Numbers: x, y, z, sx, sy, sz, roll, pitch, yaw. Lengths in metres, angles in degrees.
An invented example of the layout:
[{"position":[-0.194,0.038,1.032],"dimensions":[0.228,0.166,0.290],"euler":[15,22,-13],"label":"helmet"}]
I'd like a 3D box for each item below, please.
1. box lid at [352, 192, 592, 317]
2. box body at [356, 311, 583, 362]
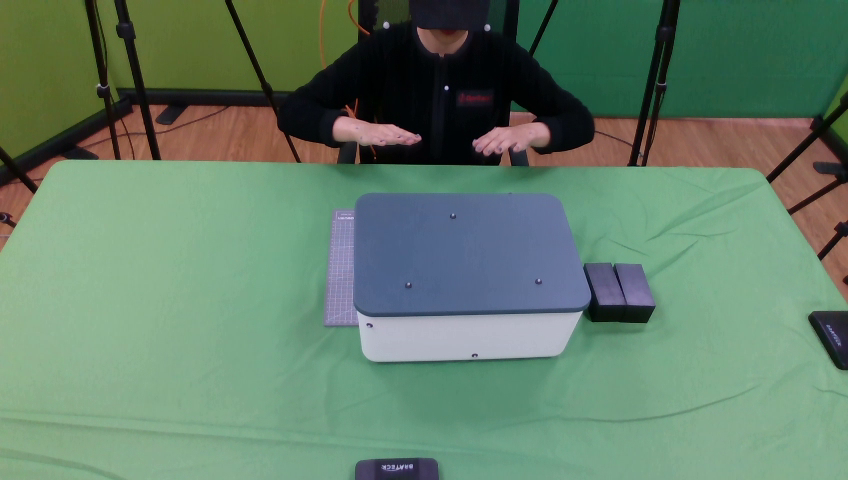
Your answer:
[{"position":[0.071,0.014,0.986],"dimensions":[0.372,0.015,0.261],"euler":[-1,47,-5],"label":"box lid"},{"position":[0.065,0.066,1.040],"dimensions":[0.364,0.161,0.252],"euler":[-1,46,-5],"label":"box body"}]
